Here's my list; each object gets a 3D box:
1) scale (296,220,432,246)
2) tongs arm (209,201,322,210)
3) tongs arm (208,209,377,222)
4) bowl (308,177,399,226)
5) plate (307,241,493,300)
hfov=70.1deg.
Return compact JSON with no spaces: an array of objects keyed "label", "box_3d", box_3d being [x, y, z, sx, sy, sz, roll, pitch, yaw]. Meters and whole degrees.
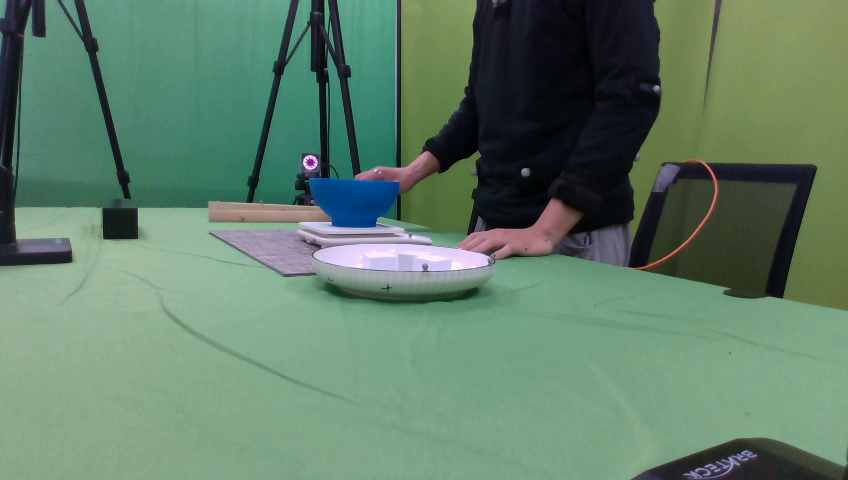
[{"label":"scale","box_3d":[-0.101,-0.012,1.017,0.202,0.031,0.148,-1,8,-30]},{"label":"tongs arm","box_3d":[-0.306,-0.071,1.430,0.386,0.026,0.050,1,8,-15]},{"label":"tongs arm","box_3d":[-0.280,-0.056,1.355,0.389,0.028,0.028,-1,6,-28]},{"label":"bowl","box_3d":[-0.117,-0.064,1.001,0.151,0.077,0.151,2,6,0]},{"label":"plate","box_3d":[-0.027,0.034,0.684,0.208,0.039,0.207,2,7,0]}]
